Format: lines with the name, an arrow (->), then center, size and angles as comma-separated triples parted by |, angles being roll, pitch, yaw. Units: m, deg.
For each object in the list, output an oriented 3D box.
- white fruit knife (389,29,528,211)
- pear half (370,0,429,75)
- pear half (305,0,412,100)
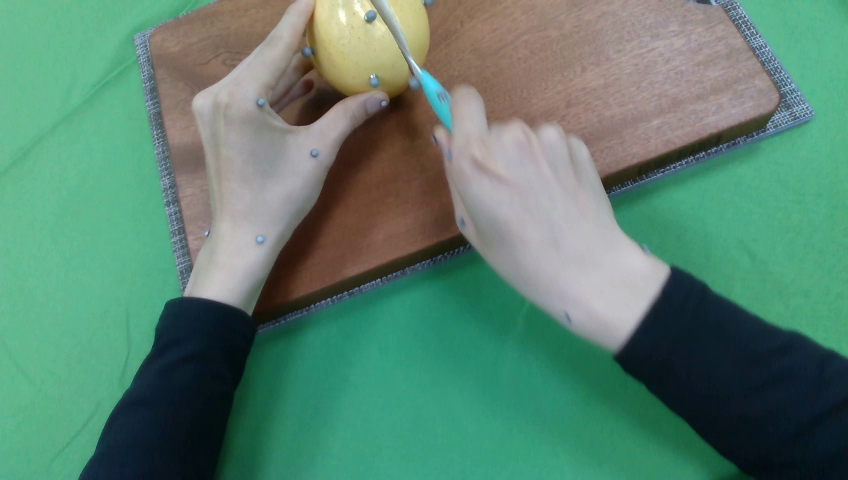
white fruit knife -> 0.002, -0.100, 0.387 | 0.016, 0.027, 0.205 | -33, 66, -4
pear half -> -0.016, -0.152, 0.400 | 0.031, 0.089, 0.070 | -36, 61, -9
pear half -> -0.051, -0.133, 0.389 | 0.056, 0.111, 0.075 | -39, 64, -3
